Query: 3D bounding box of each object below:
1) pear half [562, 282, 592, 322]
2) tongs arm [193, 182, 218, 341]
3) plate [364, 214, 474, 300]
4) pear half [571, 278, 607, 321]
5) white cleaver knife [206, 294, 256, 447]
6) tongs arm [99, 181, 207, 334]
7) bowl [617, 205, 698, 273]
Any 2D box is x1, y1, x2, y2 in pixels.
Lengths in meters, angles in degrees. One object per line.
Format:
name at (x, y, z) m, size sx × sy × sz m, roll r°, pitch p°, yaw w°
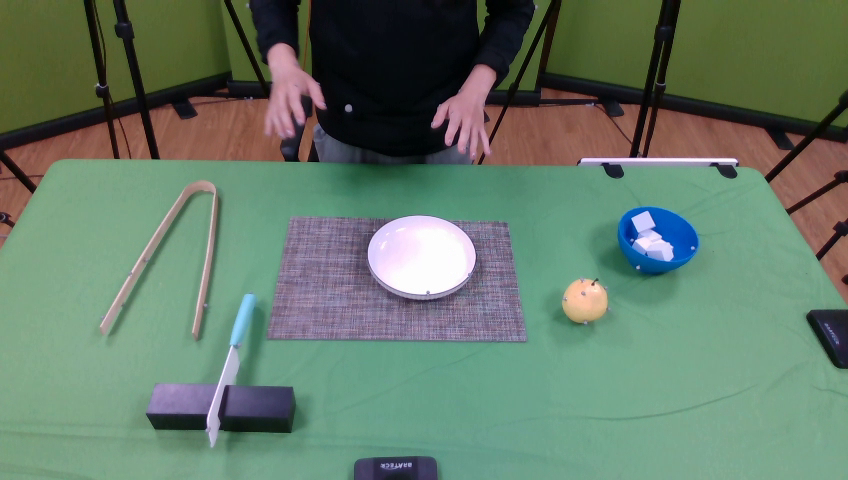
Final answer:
pear half at (0.264, 0.111, 1.065) m, size 0.031 × 0.088 × 0.070 m, roll -20°, pitch 61°, yaw -21°
tongs arm at (-0.413, 0.024, 1.140) m, size 0.028 × 0.028 × 0.385 m, roll -5°, pitch 47°, yaw -7°
plate at (-0.010, 0.036, 1.146) m, size 0.208 × 0.039 × 0.206 m, roll 3°, pitch 46°, yaw -2°
pear half at (0.297, 0.094, 1.069) m, size 0.056 × 0.110 × 0.076 m, roll -21°, pitch 62°, yaw -21°
white cleaver knife at (-0.305, 0.191, 0.956) m, size 0.021 × 0.066 × 0.284 m, roll 6°, pitch 36°, yaw -4°
tongs arm at (-0.494, 0.018, 1.132) m, size 0.051 × 0.026 × 0.382 m, roll 7°, pitch 45°, yaw 0°
bowl at (0.442, 0.010, 1.181) m, size 0.151 × 0.077 × 0.150 m, roll 2°, pitch 46°, yaw -2°
